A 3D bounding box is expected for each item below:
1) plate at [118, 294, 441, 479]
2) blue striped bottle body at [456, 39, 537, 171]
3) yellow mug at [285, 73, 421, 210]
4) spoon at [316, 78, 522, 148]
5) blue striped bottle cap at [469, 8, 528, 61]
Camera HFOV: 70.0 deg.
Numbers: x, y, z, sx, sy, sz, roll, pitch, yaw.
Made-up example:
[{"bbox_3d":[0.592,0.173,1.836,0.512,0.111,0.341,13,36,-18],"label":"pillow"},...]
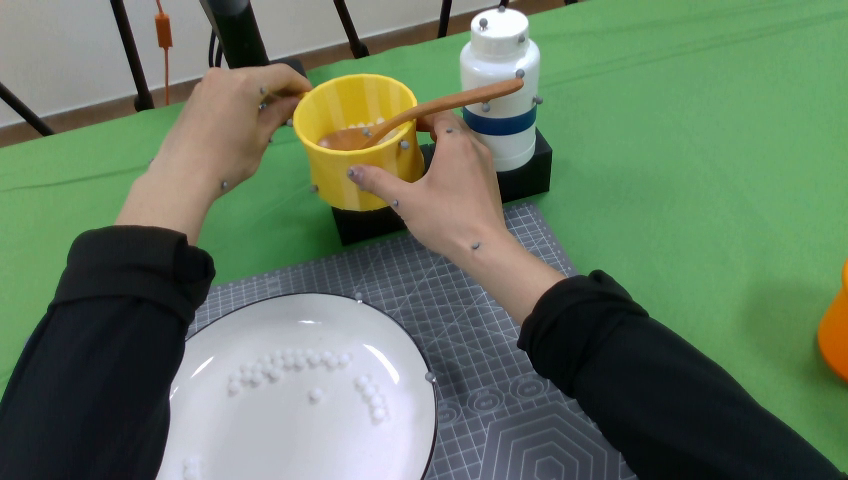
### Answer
[{"bbox_3d":[-0.091,0.129,0.405,0.207,0.039,0.205,-3,47,4],"label":"plate"},{"bbox_3d":[0.059,-0.121,0.493,0.063,0.122,0.062,-4,47,4],"label":"blue striped bottle body"},{"bbox_3d":[-0.067,-0.089,0.509,0.130,0.064,0.099,25,56,23],"label":"yellow mug"},{"bbox_3d":[-0.013,-0.093,0.468,0.193,0.022,0.041,-13,40,37],"label":"spoon"},{"bbox_3d":[0.056,-0.155,0.456,0.044,0.021,0.044,-5,48,6],"label":"blue striped bottle cap"}]
